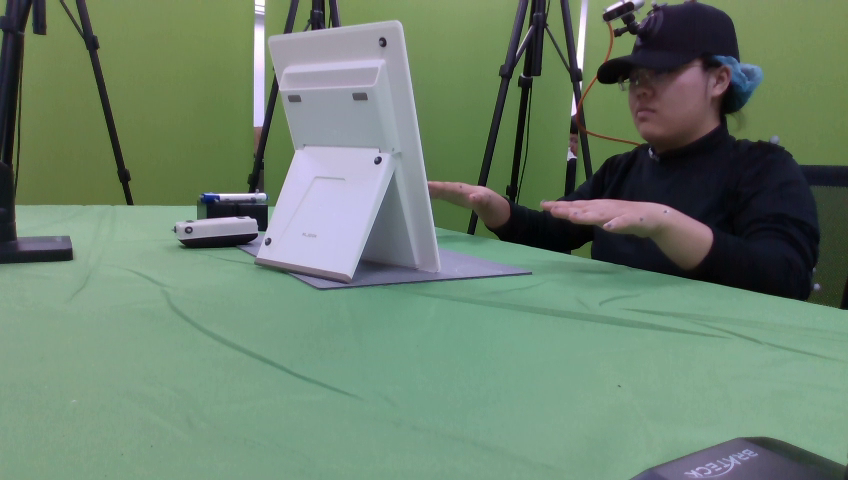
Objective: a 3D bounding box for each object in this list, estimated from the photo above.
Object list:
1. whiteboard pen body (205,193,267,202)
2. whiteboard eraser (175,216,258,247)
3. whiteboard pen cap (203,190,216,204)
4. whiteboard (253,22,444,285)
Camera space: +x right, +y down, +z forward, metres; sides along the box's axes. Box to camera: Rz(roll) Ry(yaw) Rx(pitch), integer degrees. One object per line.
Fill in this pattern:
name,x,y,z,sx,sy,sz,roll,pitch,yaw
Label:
whiteboard pen body,-0.355,-0.081,1.147,0.017,0.017,0.141,8,9,34
whiteboard eraser,-0.313,-0.013,0.915,0.113,0.042,0.055,-5,12,-30
whiteboard pen cap,-0.388,-0.077,1.093,0.018,0.018,0.033,2,25,-7
whiteboard,-0.125,-0.081,0.715,0.216,0.305,0.144,9,29,36
